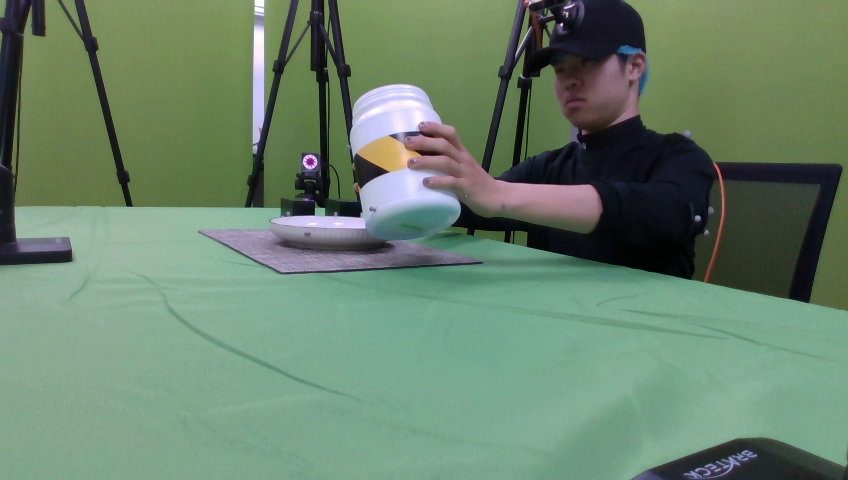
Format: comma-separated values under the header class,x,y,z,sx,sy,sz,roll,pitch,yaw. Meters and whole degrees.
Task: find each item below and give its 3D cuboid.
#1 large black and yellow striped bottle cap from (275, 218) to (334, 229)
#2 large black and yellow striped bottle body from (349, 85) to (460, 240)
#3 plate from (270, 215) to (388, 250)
class,x,y,z,sx,sy,sz,roll,pitch,yaw
large black and yellow striped bottle cap,-0.236,-0.033,1.197,0.115,0.019,0.115,2,3,0
large black and yellow striped bottle body,-0.031,-0.104,0.826,0.131,0.183,0.131,-10,-17,-3
plate,-0.145,-0.013,0.992,0.208,0.039,0.207,2,7,0
